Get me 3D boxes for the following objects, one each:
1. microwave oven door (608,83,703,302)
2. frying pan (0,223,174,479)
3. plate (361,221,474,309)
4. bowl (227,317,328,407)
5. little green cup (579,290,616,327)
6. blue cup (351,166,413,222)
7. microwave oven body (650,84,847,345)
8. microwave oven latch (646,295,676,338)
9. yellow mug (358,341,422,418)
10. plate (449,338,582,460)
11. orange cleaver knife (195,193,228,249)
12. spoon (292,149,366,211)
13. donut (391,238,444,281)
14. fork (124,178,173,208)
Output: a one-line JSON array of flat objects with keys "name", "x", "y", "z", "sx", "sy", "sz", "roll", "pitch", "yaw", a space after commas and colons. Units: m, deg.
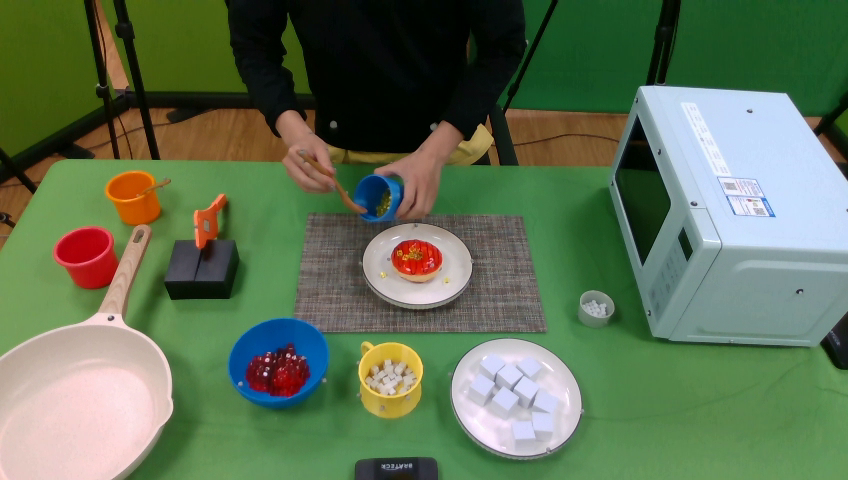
[{"name": "microwave oven door", "x": 0.424, "y": -0.096, "z": 1.138, "sx": 0.039, "sy": 0.245, "sz": 0.353, "roll": 2, "pitch": 47, "yaw": -1}, {"name": "frying pan", "x": -0.505, "y": 0.169, "z": 0.941, "sx": 0.307, "sy": 0.103, "sz": 0.485, "roll": 5, "pitch": 54, "yaw": -1}, {"name": "plate", "x": -0.011, "y": 0.049, "z": 1.130, "sx": 0.209, "sy": 0.038, "sz": 0.208, "roll": 2, "pitch": 46, "yaw": -2}, {"name": "bowl", "x": -0.222, "y": 0.203, "z": 0.947, "sx": 0.151, "sy": 0.077, "sz": 0.150, "roll": 2, "pitch": 46, "yaw": -2}, {"name": "little green cup", "x": 0.308, "y": 0.124, "z": 1.086, "sx": 0.061, "sy": 0.039, "sz": 0.061, "roll": 1, "pitch": 45, "yaw": -1}, {"name": "blue cup", "x": -0.070, "y": -0.075, "z": 1.105, "sx": 0.092, "sy": 0.101, "sz": 0.092, "roll": -9, "pitch": 71, "yaw": 27}, {"name": "microwave oven body", "x": 0.569, "y": -0.054, "z": 1.116, "sx": 0.326, "sy": 0.261, "sz": 0.439, "roll": 2, "pitch": 46, "yaw": -1}, {"name": "microwave oven latch", "x": 0.413, "y": 0.133, "z": 1.060, "sx": 0.030, "sy": 0.029, "sz": 0.078, "roll": 4, "pitch": 46, "yaw": 1}, {"name": "yellow mug", "x": -0.063, "y": 0.210, "z": 0.960, "sx": 0.100, "sy": 0.064, "sz": 0.130, "roll": -29, "pitch": 54, "yaw": -28}, {"name": "plate", "x": 0.141, "y": 0.251, "z": 0.955, "sx": 0.208, "sy": 0.039, "sz": 0.206, "roll": 2, "pitch": 46, "yaw": -2}, {"name": "orange cleaver knife", "x": -0.406, "y": -0.041, "z": 1.163, "sx": 0.012, "sy": 0.077, "sz": 0.210, "roll": 0, "pitch": 17, "yaw": -4}, {"name": "spoon", "x": -0.153, "y": -0.097, "z": 0.995, "sx": 0.021, "sy": 0.195, "sz": 0.041, "roll": -49, "pitch": 50, "yaw": -6}, {"name": "donut", "x": -0.012, "y": 0.035, "z": 1.128, "sx": 0.099, "sy": 0.048, "sz": 0.098, "roll": 3, "pitch": 42, "yaw": -3}, {"name": "fork", "x": -0.525, "y": -0.089, "z": 1.153, "sx": 0.207, "sy": 0.019, "sz": 0.028, "roll": -18, "pitch": 27, "yaw": 45}]
